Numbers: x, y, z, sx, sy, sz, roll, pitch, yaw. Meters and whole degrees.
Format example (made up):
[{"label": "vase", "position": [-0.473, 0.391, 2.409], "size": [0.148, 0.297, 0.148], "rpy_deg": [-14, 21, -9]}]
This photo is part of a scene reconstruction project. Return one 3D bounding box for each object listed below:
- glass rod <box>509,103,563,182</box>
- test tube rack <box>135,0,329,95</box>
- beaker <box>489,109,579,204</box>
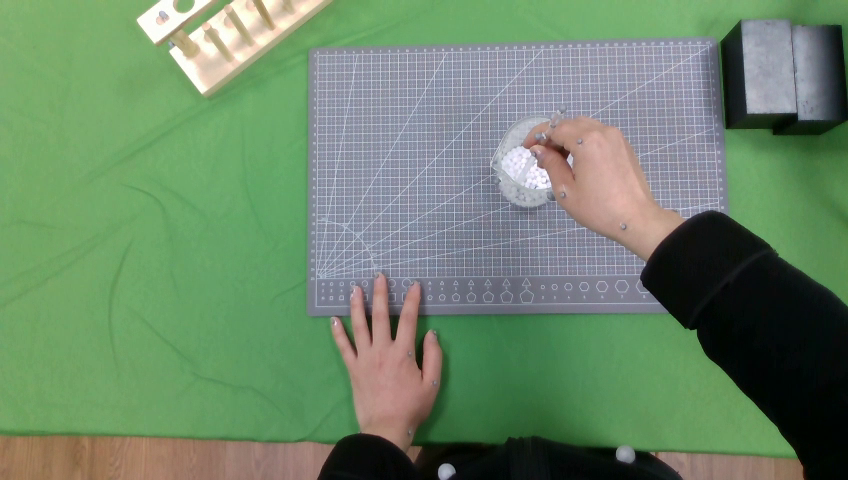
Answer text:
[{"label": "glass rod", "position": [0.098, -0.083, 0.552], "size": [0.008, 0.200, 0.008], "rpy_deg": [0, 80, -2]}, {"label": "test tube rack", "position": [-0.174, -0.268, 0.648], "size": [0.242, 0.085, 0.066], "rpy_deg": [-38, 83, -2]}, {"label": "beaker", "position": [0.105, -0.077, 0.607], "size": [0.084, 0.100, 0.074], "rpy_deg": [-12, 82, 2]}]
